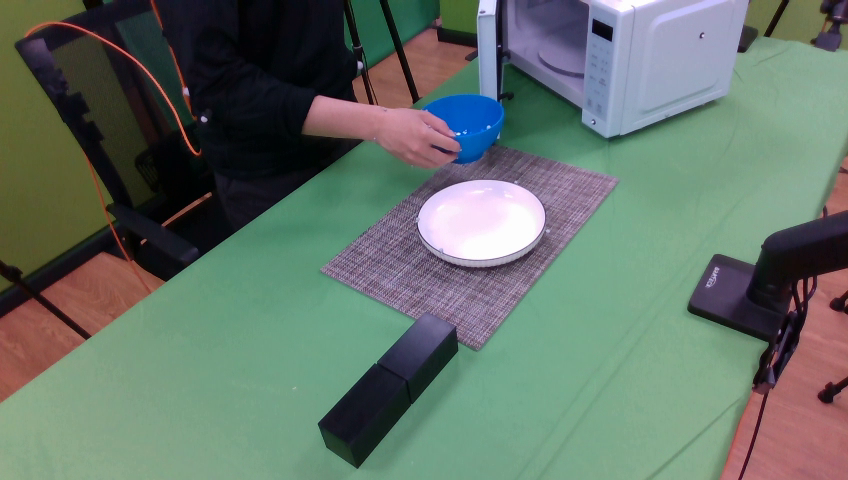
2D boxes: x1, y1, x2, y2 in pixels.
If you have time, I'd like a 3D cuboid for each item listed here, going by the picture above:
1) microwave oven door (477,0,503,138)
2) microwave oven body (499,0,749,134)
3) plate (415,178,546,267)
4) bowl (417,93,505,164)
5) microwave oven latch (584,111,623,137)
[{"bbox_3d":[0.136,-0.403,1.224,0.039,0.245,0.354,0,41,9],"label":"microwave oven door"},{"bbox_3d":[0.382,-0.444,1.246,0.327,0.261,0.437,-22,42,-16],"label":"microwave oven body"},{"bbox_3d":[0.091,-0.026,0.970,0.207,0.039,0.206,-4,41,4],"label":"plate"},{"bbox_3d":[0.067,-0.184,1.044,0.151,0.077,0.150,-5,40,5],"label":"bowl"},{"bbox_3d":[0.337,-0.222,1.142,0.030,0.029,0.078,-21,42,-14],"label":"microwave oven latch"}]
